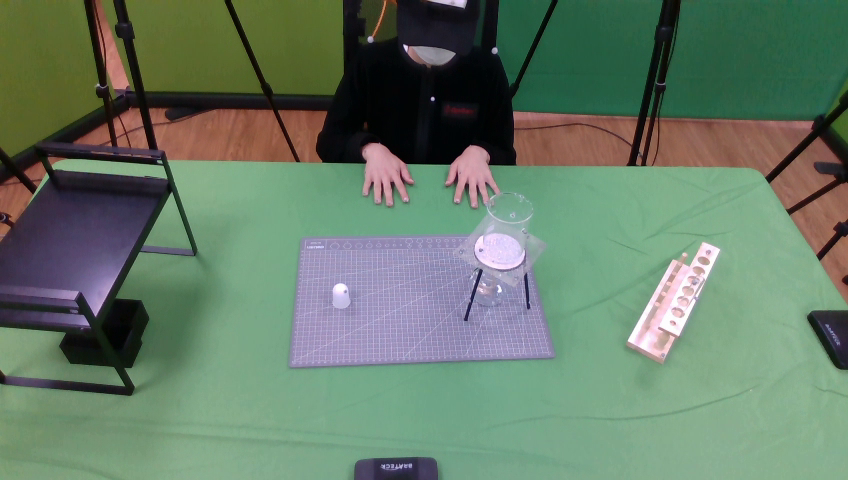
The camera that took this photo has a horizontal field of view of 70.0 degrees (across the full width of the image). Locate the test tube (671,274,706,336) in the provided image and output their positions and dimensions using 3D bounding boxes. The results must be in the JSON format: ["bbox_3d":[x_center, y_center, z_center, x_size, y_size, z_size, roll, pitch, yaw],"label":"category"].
[{"bbox_3d":[0.429,0.112,1.004,0.017,0.151,0.017,4,43,-4],"label":"test tube"}]

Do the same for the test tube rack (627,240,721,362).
[{"bbox_3d":[0.452,0.098,1.087,0.066,0.085,0.242,28,51,22],"label":"test tube rack"}]

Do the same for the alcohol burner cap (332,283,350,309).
[{"bbox_3d":[-0.148,0.096,1.075,0.034,0.048,0.033,2,47,-2],"label":"alcohol burner cap"}]

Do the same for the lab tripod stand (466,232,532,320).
[{"bbox_3d":[0.125,0.059,1.065,0.148,0.132,0.147,1,45,0],"label":"lab tripod stand"}]

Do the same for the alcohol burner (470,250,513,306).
[{"bbox_3d":[0.121,0.062,1.076,0.078,0.120,0.077,1,47,0],"label":"alcohol burner"}]

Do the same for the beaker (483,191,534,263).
[{"bbox_3d":[0.135,-0.020,0.983,0.073,0.101,0.084,28,50,23],"label":"beaker"}]

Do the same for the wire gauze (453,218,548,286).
[{"bbox_3d":[0.129,0.014,1.019,0.124,0.011,0.121,25,47,25],"label":"wire gauze"}]
